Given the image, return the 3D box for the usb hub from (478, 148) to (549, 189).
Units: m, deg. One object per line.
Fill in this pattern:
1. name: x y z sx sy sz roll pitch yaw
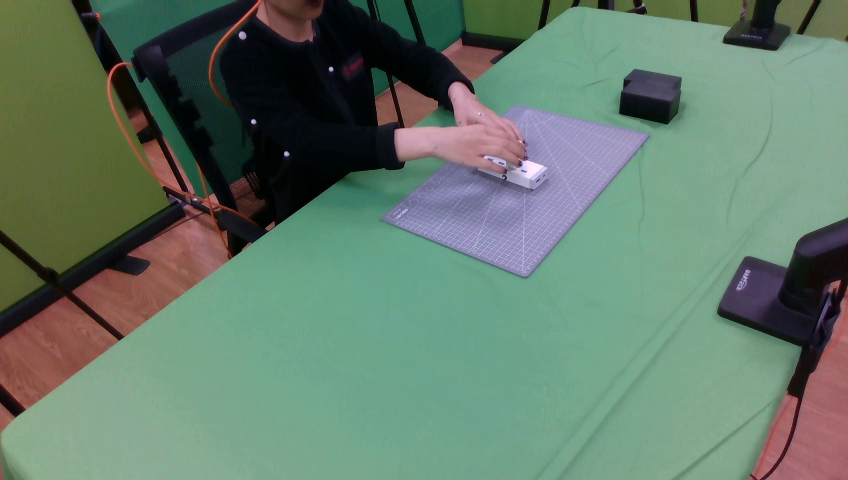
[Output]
1. usb hub: 0.161 -0.130 1.099 0.124 0.025 0.049 26 51 34

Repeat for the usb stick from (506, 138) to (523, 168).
1. usb stick: 0.160 -0.148 1.074 0.021 0.059 0.027 25 48 33
